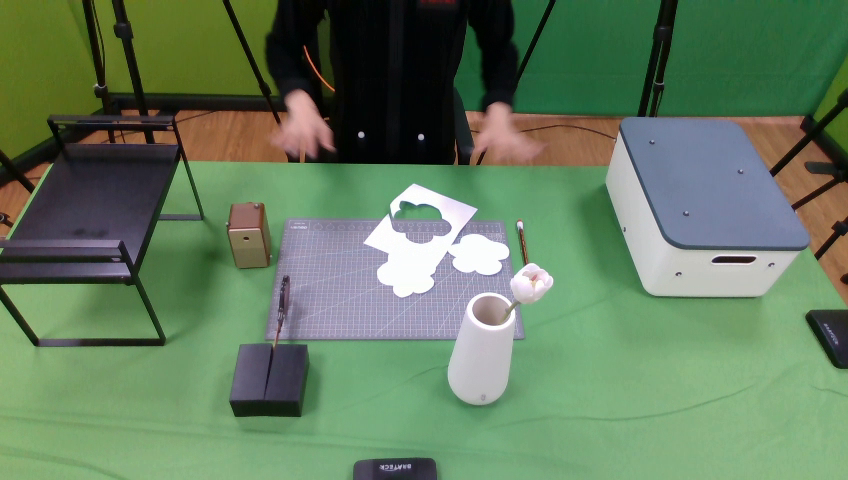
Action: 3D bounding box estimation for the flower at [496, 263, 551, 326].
[{"bbox_3d":[0.102,0.120,0.853,0.044,0.363,0.038,-2,64,-10],"label":"flower"}]

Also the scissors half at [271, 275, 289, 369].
[{"bbox_3d":[-0.240,0.131,1.000,0.013,0.040,0.174,3,56,-4],"label":"scissors half"}]

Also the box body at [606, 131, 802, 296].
[{"bbox_3d":[0.530,-0.067,1.204,0.254,0.161,0.361,0,46,-4],"label":"box body"}]

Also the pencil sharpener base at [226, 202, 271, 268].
[{"bbox_3d":[-0.323,-0.010,1.123,0.061,0.107,0.076,-3,46,-6],"label":"pencil sharpener base"}]

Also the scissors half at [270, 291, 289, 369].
[{"bbox_3d":[-0.243,0.145,1.014,0.013,0.040,0.174,7,38,-7],"label":"scissors half"}]

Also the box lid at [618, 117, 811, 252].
[{"bbox_3d":[0.534,-0.117,1.149,0.263,0.015,0.369,0,47,-3],"label":"box lid"}]

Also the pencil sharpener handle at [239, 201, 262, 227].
[{"bbox_3d":[-0.325,-0.055,1.150,0.036,0.068,0.030,-13,46,3],"label":"pencil sharpener handle"}]

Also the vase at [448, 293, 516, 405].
[{"bbox_3d":[0.091,0.169,0.921,0.098,0.201,0.097,3,47,-3],"label":"vase"}]

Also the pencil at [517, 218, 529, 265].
[{"bbox_3d":[0.201,0.028,1.197,0.012,0.012,0.193,1,48,-3],"label":"pencil"}]
